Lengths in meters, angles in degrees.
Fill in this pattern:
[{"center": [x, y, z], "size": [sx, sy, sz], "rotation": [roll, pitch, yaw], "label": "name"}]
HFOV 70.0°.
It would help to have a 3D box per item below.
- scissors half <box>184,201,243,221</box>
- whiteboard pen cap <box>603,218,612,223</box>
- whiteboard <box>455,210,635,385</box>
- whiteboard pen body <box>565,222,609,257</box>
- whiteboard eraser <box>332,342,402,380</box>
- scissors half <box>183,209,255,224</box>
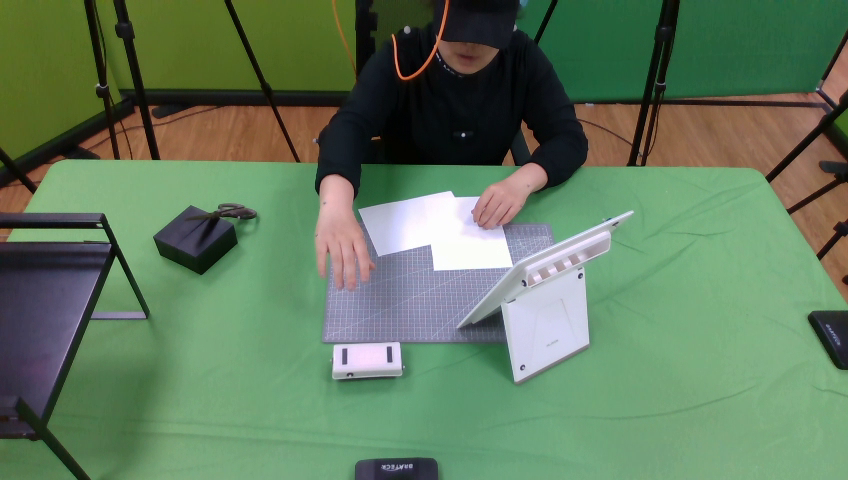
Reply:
[{"center": [-0.405, -0.053, 1.163], "size": [0.040, 0.013, 0.175], "rotation": [27, 18, 7], "label": "scissors half"}, {"center": [0.379, -0.031, 1.255], "size": [0.033, 0.018, 0.018], "rotation": [-33, 57, -29], "label": "whiteboard pen cap"}, {"center": [0.211, 0.111, 0.955], "size": [0.217, 0.306, 0.143], "rotation": [-21, 71, -23], "label": "whiteboard"}, {"center": [0.334, -0.004, 1.229], "size": [0.141, 0.017, 0.017], "rotation": [-33, 56, -29], "label": "whiteboard pen body"}, {"center": [-0.094, 0.198, 0.986], "size": [0.113, 0.042, 0.055], "rotation": [-2, 44, -6], "label": "whiteboard eraser"}, {"center": [-0.388, -0.042, 1.158], "size": [0.040, 0.013, 0.175], "rotation": [39, 22, 22], "label": "scissors half"}]
